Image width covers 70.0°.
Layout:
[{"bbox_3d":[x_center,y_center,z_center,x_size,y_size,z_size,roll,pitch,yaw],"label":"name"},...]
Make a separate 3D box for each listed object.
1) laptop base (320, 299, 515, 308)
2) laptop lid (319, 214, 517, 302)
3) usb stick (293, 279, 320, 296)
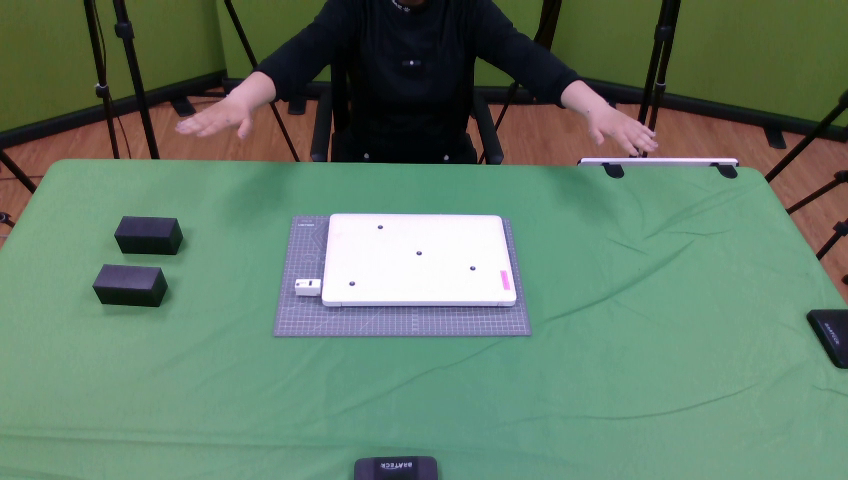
[{"bbox_3d":[-0.013,0.039,1.160,0.355,0.023,0.234,0,43,-4],"label":"laptop base"},{"bbox_3d":[-0.012,0.029,1.154,0.357,0.013,0.240,2,43,-3],"label":"laptop lid"},{"bbox_3d":[-0.202,0.086,1.083,0.059,0.027,0.021,3,46,-5],"label":"usb stick"}]
